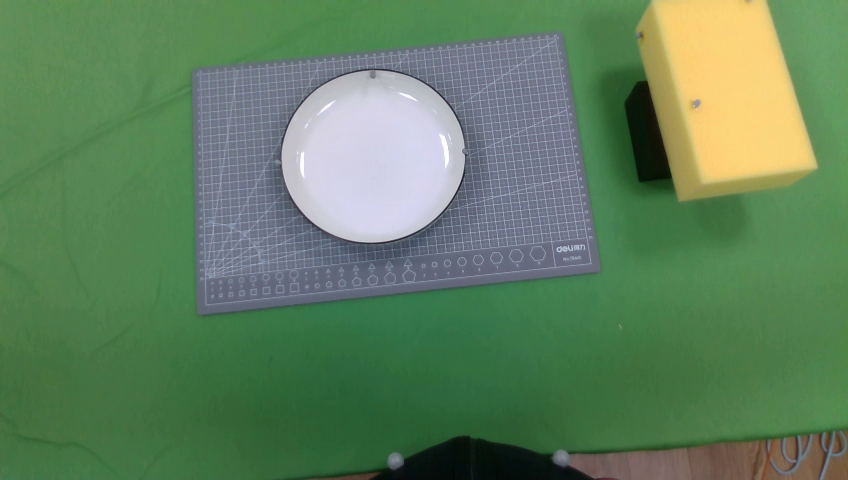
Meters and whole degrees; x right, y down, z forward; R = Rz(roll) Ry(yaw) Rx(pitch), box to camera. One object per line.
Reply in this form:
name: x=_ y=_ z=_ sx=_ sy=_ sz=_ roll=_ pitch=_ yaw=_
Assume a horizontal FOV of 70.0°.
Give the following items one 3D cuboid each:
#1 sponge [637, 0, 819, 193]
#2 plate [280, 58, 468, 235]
sponge: x=0.310 y=-0.162 z=0.633 sx=0.118 sy=0.061 sz=0.206 roll=-9 pitch=78 yaw=-1
plate: x=-0.055 y=-0.103 z=0.686 sx=0.209 sy=0.038 sz=0.208 roll=0 pitch=78 yaw=1
